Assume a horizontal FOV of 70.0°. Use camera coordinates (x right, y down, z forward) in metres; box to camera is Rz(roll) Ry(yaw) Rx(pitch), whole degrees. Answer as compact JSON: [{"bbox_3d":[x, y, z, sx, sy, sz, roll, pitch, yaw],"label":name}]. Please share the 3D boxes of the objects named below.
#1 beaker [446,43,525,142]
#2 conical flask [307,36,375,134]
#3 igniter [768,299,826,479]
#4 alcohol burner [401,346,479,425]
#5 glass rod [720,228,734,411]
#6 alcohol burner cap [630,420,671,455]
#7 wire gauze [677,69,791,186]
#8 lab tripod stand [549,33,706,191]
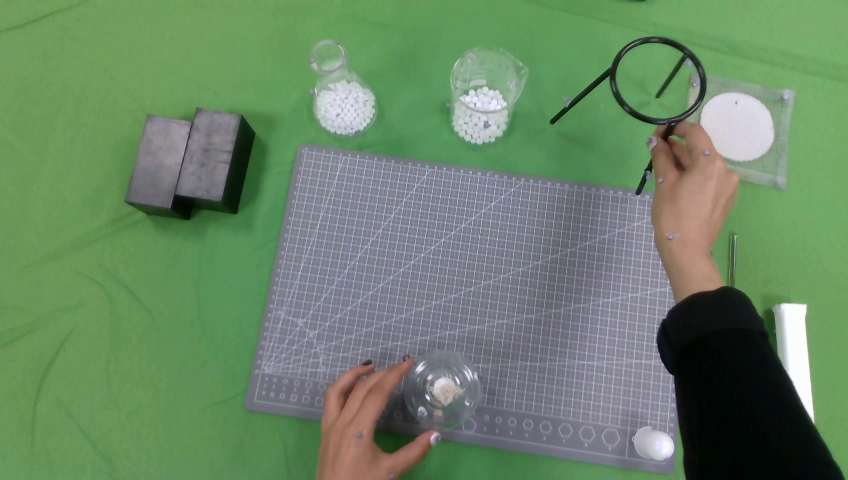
[{"bbox_3d":[0.063,-0.156,0.657,0.084,0.100,0.073,-18,79,-4],"label":"beaker"},{"bbox_3d":[-0.094,-0.170,0.648,0.075,0.122,0.075,0,78,1],"label":"conical flask"},{"bbox_3d":[0.381,0.199,0.622,0.057,0.025,0.275,4,79,-10],"label":"igniter"},{"bbox_3d":[0.016,0.140,0.588,0.078,0.119,0.077,0,77,-1],"label":"alcohol burner"},{"bbox_3d":[0.328,0.083,0.655,0.008,0.008,0.199,8,79,2],"label":"glass rod"},{"bbox_3d":[0.231,0.201,0.611,0.034,0.048,0.033,0,78,0],"label":"alcohol burner cap"},{"bbox_3d":[0.358,-0.133,0.699,0.125,0.011,0.121,13,80,1],"label":"wire gauze"},{"bbox_3d":[0.212,-0.137,0.623,0.148,0.132,0.147,0,78,1],"label":"lab tripod stand"}]
